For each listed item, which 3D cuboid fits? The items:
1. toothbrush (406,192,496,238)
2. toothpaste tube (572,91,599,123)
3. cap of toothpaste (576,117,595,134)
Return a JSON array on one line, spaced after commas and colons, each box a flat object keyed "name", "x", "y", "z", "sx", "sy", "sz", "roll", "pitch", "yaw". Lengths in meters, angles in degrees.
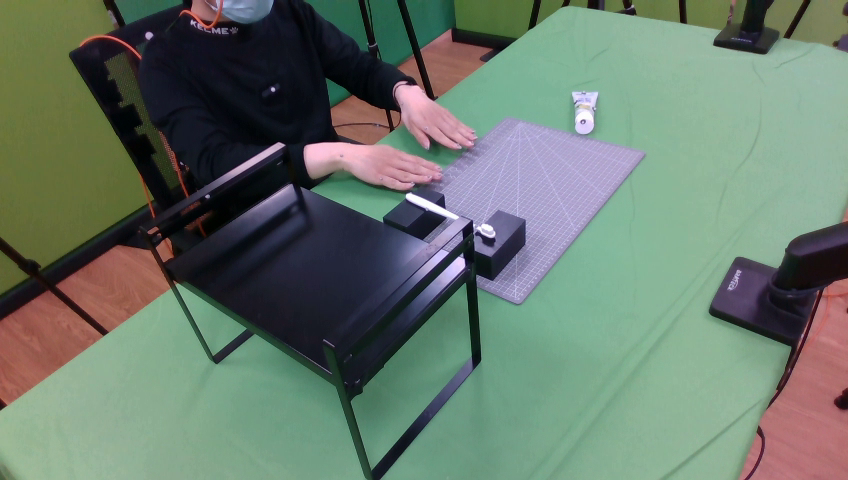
[{"name": "toothbrush", "x": 0.037, "y": -0.043, "z": 0.937, "sx": 0.180, "sy": 0.017, "sz": 0.014, "roll": 26, "pitch": 66, "yaw": 35}, {"name": "toothpaste tube", "x": 0.331, "y": -0.272, "z": 1.234, "sx": 0.055, "sy": 0.034, "sz": 0.164, "roll": 8, "pitch": 39, "yaw": 8}, {"name": "cap of toothpaste", "x": 0.313, "y": -0.224, "z": 1.172, "sx": 0.037, "sy": 0.037, "sz": 0.011, "roll": -2, "pitch": 41, "yaw": 6}]
